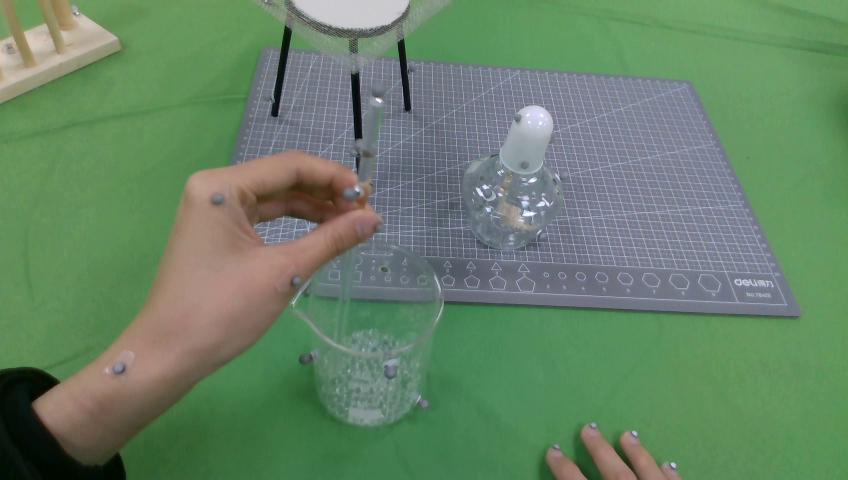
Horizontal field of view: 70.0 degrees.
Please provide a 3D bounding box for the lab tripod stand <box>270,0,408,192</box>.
[{"bbox_3d":[-0.061,-0.134,0.483,0.148,0.132,0.147,5,51,-6],"label":"lab tripod stand"}]

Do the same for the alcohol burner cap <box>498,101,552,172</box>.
[{"bbox_3d":[0.071,-0.073,0.418,0.034,0.048,0.033,4,55,-5],"label":"alcohol burner cap"}]

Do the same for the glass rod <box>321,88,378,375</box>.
[{"bbox_3d":[-0.043,0.010,0.320,0.008,0.201,0.008,9,41,-8],"label":"glass rod"}]

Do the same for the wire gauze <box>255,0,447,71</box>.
[{"bbox_3d":[-0.056,-0.176,0.431,0.124,0.011,0.121,35,56,18],"label":"wire gauze"}]

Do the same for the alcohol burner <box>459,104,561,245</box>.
[{"bbox_3d":[0.067,-0.052,0.446,0.078,0.120,0.077,5,49,-5],"label":"alcohol burner"}]

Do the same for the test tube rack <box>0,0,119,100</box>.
[{"bbox_3d":[-0.389,-0.161,0.496,0.066,0.086,0.242,34,54,19],"label":"test tube rack"}]

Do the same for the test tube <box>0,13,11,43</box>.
[{"bbox_3d":[-0.373,-0.229,0.488,0.017,0.151,0.017,2,48,-2],"label":"test tube"}]

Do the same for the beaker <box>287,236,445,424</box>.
[{"bbox_3d":[-0.034,0.058,0.356,0.084,0.101,0.073,-5,51,-10],"label":"beaker"}]
